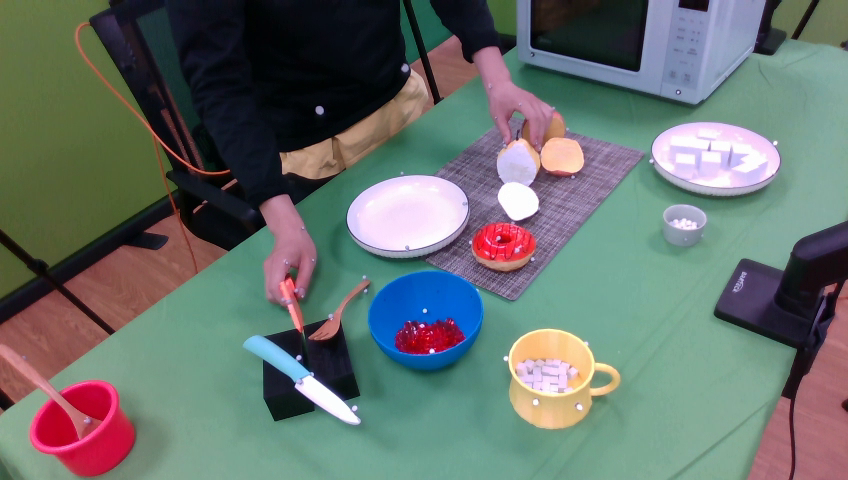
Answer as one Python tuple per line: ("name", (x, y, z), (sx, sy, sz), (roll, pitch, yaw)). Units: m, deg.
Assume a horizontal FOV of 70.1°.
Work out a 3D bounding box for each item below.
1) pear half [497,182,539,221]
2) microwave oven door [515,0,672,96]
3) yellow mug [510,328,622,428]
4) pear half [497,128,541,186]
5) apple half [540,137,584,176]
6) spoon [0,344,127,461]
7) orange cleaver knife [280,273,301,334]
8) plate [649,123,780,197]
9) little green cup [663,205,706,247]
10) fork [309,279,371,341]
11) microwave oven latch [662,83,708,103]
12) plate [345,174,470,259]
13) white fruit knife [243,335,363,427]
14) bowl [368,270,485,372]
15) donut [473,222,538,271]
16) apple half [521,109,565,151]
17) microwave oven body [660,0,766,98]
("pear half", (0.154, -0.057, 1.005), (0.070, 0.031, 0.088), (14, 52, 5))
("microwave oven door", (0.343, -0.454, 1.259), (0.353, 0.245, 0.039), (26, 51, 33))
("yellow mug", (0.168, 0.164, 0.722), (0.130, 0.064, 0.099), (0, 40, 8))
("pear half", (0.167, -0.151, 1.054), (0.076, 0.110, 0.056), (10, 42, 15))
("apple half", (0.247, -0.146, 1.089), (0.081, 0.033, 0.081), (-1, 65, 4))
("spoon", (-0.433, 0.191, 0.721), (0.194, 0.021, 0.042), (47, 53, -6))
("orange cleaver knife", (-0.184, 0.085, 0.846), (0.012, 0.077, 0.210), (-19, 7, -11))
("plate", (0.497, -0.135, 1.046), (0.207, 0.039, 0.206), (-4, 40, 4))
("little green cup", (0.396, -0.021, 0.926), (0.061, 0.039, 0.061), (-4, 40, 4))
("fork", (-0.109, 0.092, 0.832), (0.028, 0.018, 0.207), (-5, 19, 15))
("microwave oven latch", (0.518, -0.296, 1.204), (0.078, 0.029, 0.030), (28, 52, 35))
("plate", (-0.026, -0.037, 1.004), (0.209, 0.038, 0.208), (-4, 40, 4))
("white fruit knife", (-0.148, 0.167, 0.729), (0.206, 0.016, 0.027), (27, 80, 31))
("bowl", (0.007, 0.118, 0.791), (0.151, 0.077, 0.150), (-5, 40, 4))
("donut", (0.123, 0.008, 0.923), (0.099, 0.048, 0.098), (-3, 37, 3))
("apple half", (0.224, -0.212, 1.145), (0.080, 0.075, 0.053), (-5, 36, 9))
("microwave oven body", (0.472, -0.513, 1.317), (0.438, 0.261, 0.327), (26, 51, 34))
